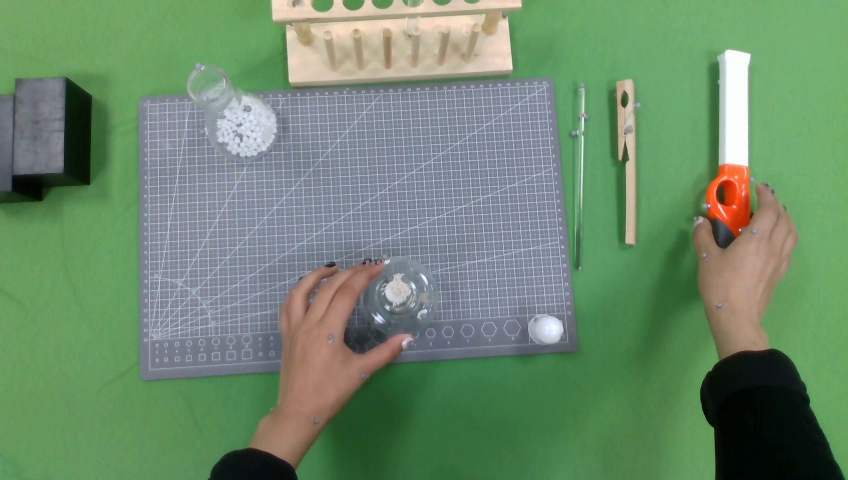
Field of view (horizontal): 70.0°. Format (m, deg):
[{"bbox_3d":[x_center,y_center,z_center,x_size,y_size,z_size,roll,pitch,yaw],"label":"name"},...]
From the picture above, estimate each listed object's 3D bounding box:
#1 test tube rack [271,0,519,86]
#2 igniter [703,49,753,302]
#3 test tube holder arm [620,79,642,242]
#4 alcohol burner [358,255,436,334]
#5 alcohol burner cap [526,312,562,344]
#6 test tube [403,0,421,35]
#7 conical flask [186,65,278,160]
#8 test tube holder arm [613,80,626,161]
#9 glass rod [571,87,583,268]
[{"bbox_3d":[-0.028,-0.215,0.631,0.242,0.085,0.066,-4,83,-2],"label":"test tube rack"},{"bbox_3d":[0.328,-0.070,0.651,0.057,0.025,0.275,6,83,-11],"label":"igniter"},{"bbox_3d":[0.222,-0.086,0.653,0.013,0.015,0.178,-8,81,35],"label":"test tube holder arm"},{"bbox_3d":[-0.027,0.051,0.580,0.078,0.119,0.077,0,81,1],"label":"alcohol burner"},{"bbox_3d":[0.124,0.089,0.616,0.034,0.048,0.033,0,81,-2],"label":"alcohol burner cap"},{"bbox_3d":[-0.010,-0.242,0.585,0.017,0.150,0.017,1,79,-4],"label":"test tube"},{"bbox_3d":[-0.192,-0.129,0.593,0.075,0.122,0.075,0,82,-1],"label":"conical flask"},{"bbox_3d":[0.216,-0.130,0.662,0.010,0.015,0.087,-6,82,36],"label":"test tube holder arm"},{"bbox_3d":[0.165,-0.069,0.656,0.008,0.008,0.199,3,85,-1],"label":"glass rod"}]
